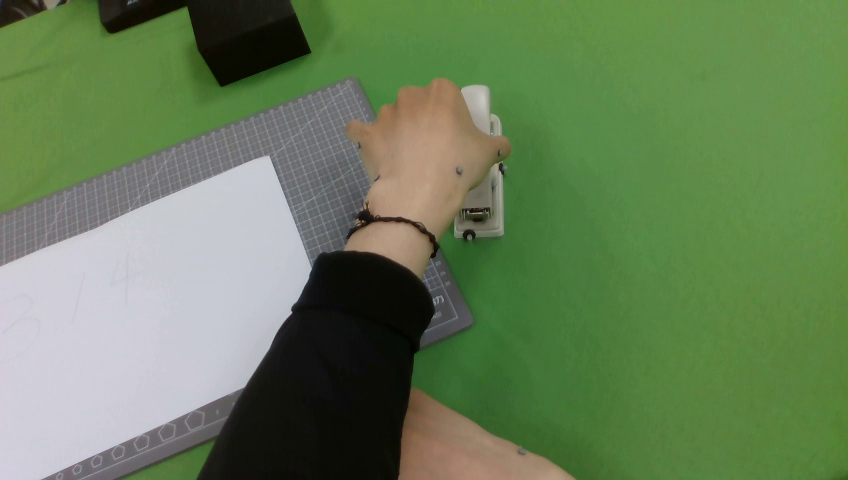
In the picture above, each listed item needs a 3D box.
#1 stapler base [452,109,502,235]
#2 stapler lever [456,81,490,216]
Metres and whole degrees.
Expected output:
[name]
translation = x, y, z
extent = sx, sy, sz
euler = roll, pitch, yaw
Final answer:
[stapler base]
translation = 0.044, -0.065, 0.510
extent = 0.041, 0.025, 0.129
euler = -3, 60, 11
[stapler lever]
translation = 0.040, -0.076, 0.488
extent = 0.027, 0.040, 0.117
euler = -3, 60, 12
